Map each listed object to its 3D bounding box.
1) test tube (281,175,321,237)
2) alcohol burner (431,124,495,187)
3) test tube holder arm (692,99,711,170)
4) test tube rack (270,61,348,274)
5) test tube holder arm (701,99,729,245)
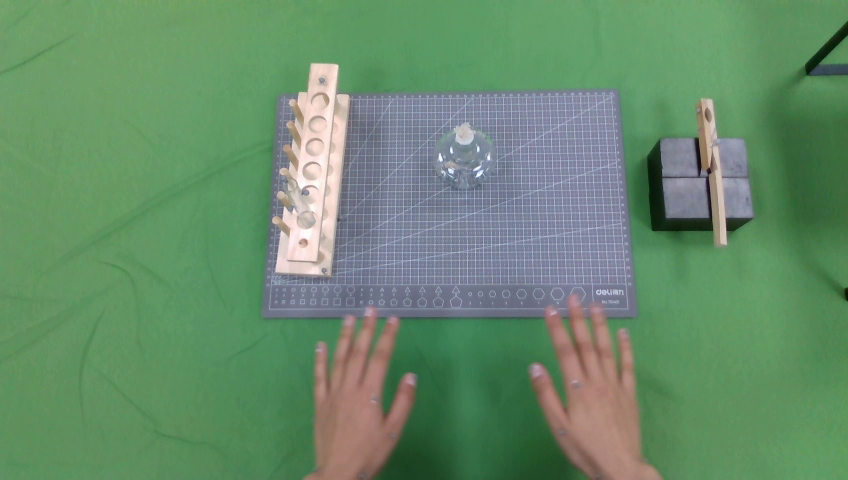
[{"bbox_3d":[-0.133,-0.032,0.667,0.017,0.151,0.017,0,70,1],"label":"test tube"},{"bbox_3d":[0.046,-0.108,0.717,0.078,0.119,0.077,-1,76,3],"label":"alcohol burner"},{"bbox_3d":[0.328,-0.125,0.715,0.010,0.015,0.087,0,75,-3],"label":"test tube holder arm"},{"bbox_3d":[-0.142,-0.087,0.732,0.067,0.085,0.241,3,75,3],"label":"test tube rack"},{"bbox_3d":[0.336,-0.081,0.704,0.013,0.015,0.177,-2,75,-3],"label":"test tube holder arm"}]
